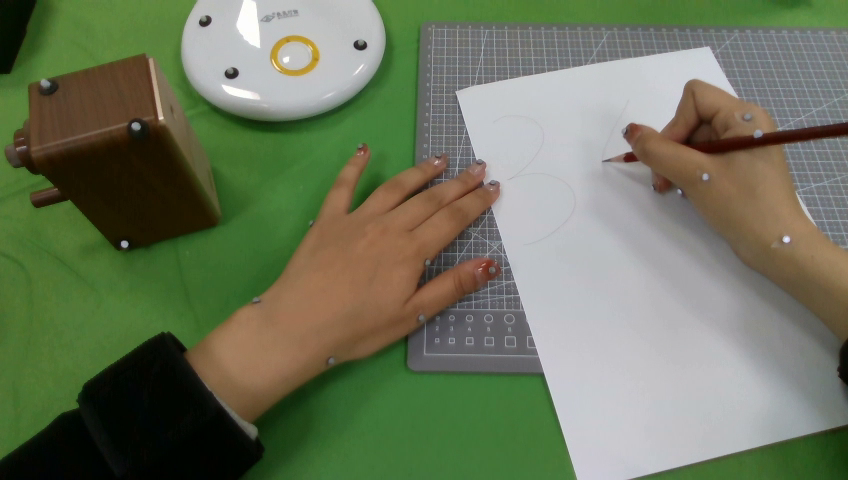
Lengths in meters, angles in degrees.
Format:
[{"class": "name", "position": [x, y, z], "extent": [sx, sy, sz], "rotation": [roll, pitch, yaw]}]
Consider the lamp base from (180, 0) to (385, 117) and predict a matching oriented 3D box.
[{"class": "lamp base", "position": [-0.119, -0.208, 0.421], "extent": [0.161, 0.182, 0.177], "rotation": [-27, 62, -14]}]

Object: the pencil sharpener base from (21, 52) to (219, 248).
[{"class": "pencil sharpener base", "position": [-0.183, -0.050, 0.376], "extent": [0.077, 0.108, 0.061], "rotation": [-17, 63, -9]}]

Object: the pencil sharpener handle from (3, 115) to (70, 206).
[{"class": "pencil sharpener handle", "position": [-0.231, -0.042, 0.357], "extent": [0.031, 0.068, 0.035], "rotation": [-18, 65, -9]}]

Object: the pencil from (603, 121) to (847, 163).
[{"class": "pencil", "position": [0.187, -0.058, 0.359], "extent": [0.193, 0.012, 0.012], "rotation": [0, 47, 53]}]
